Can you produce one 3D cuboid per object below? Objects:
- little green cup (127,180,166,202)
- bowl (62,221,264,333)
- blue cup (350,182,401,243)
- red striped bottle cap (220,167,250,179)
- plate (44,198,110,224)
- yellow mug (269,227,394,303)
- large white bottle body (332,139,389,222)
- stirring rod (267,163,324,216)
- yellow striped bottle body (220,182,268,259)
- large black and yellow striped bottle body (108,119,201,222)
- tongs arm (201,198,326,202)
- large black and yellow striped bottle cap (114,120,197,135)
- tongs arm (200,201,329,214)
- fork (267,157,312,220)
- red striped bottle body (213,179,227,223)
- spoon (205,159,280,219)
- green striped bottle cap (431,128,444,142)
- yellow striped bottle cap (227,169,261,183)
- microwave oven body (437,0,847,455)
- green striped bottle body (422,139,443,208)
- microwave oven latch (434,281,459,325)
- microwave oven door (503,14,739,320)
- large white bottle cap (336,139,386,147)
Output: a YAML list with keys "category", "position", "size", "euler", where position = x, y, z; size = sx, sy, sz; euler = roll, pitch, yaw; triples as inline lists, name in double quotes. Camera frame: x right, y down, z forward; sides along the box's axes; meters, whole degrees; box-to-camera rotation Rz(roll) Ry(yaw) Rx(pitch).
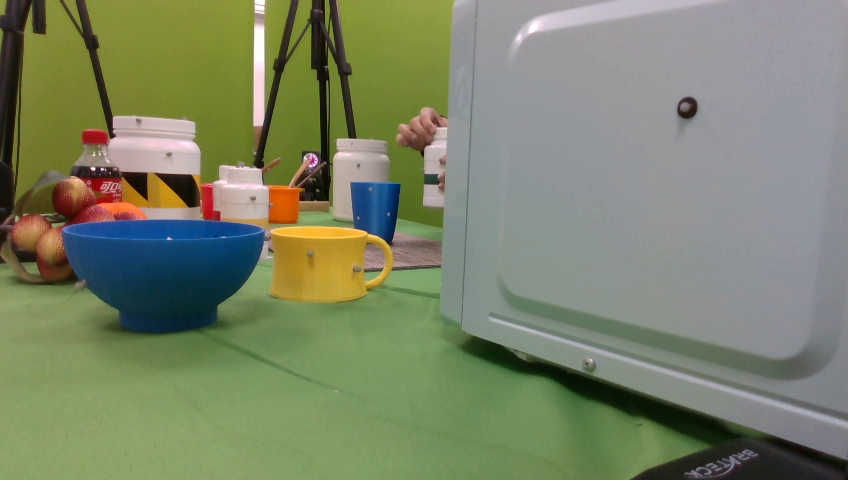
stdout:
- category: "little green cup"
  position: [-0.485, -0.086, 1.061]
  size: [0.061, 0.038, 0.061]
  euler: [1, 7, 0]
- category: "bowl"
  position: [-0.209, 0.029, 0.496]
  size: [0.151, 0.077, 0.151]
  euler: [2, 6, 0]
- category: "blue cup"
  position: [-0.082, -0.047, 1.010]
  size: [0.093, 0.100, 0.092]
  euler: [1, 6, 0]
- category: "red striped bottle cap"
  position: [-0.281, -0.100, 0.901]
  size: [0.044, 0.017, 0.044]
  euler: [-1, 5, 0]
- category: "plate"
  position: [-0.617, -0.056, 1.179]
  size: [0.209, 0.038, 0.209]
  euler: [3, 7, 0]
- category: "yellow mug"
  position: [-0.094, 0.023, 0.629]
  size: [0.131, 0.064, 0.099]
  euler: [0, 7, -22]
- category: "large white bottle body"
  position: [-0.145, -0.136, 1.387]
  size: [0.131, 0.184, 0.130]
  euler: [2, 7, 0]
- category: "stirring rod"
  position: [-0.278, -0.105, 1.294]
  size: [0.176, 0.006, 0.014]
  euler: [-47, 26, -18]
- category: "yellow striped bottle body"
  position: [-0.246, -0.036, 0.825]
  size: [0.063, 0.120, 0.063]
  euler: [3, 8, 0]
- category: "large black and yellow striped bottle body"
  position: [-0.412, -0.088, 0.930]
  size: [0.131, 0.184, 0.130]
  euler: [3, 7, 0]
- category: "tongs arm"
  position: [-0.433, -0.090, 1.507]
  size: [0.390, 0.028, 0.028]
  euler: [-1, 2, -30]
- category: "large black and yellow striped bottle cap"
  position: [-0.407, -0.171, 0.920]
  size: [0.115, 0.019, 0.115]
  euler: [2, 9, 0]
- category: "tongs arm"
  position: [-0.378, -0.079, 1.440]
  size: [0.387, 0.026, 0.050]
  euler: [-4, 8, -44]
- category: "fork"
  position: [-0.289, -0.116, 1.321]
  size: [0.028, 0.019, 0.207]
  euler: [6, 51, 18]
- category: "red striped bottle body"
  position: [-0.284, -0.048, 0.909]
  size: [0.063, 0.119, 0.063]
  euler: [3, 11, 0]
- category: "spoon"
  position: [-0.365, -0.103, 1.214]
  size: [0.193, 0.021, 0.041]
  euler: [-42, 4, 6]
- category: "green striped bottle cap"
  position: [0.032, -0.166, 0.959]
  size: [0.044, 0.020, 0.044]
  euler: [0, 4, 0]
- category: "yellow striped bottle cap"
  position: [-0.243, -0.087, 0.818]
  size: [0.044, 0.018, 0.044]
  euler: [3, 6, 0]
- category: "microwave oven body"
  position: [0.279, -0.040, 0.465]
  size: [0.444, 0.260, 0.324]
  euler: [-3, 9, -41]
- category: "green striped bottle body"
  position: [0.030, -0.111, 0.966]
  size: [0.063, 0.119, 0.063]
  euler: [2, 6, 0]
- category: "microwave oven latch"
  position: [0.044, 0.045, 0.470]
  size: [0.079, 0.029, 0.030]
  euler: [-2, 8, -39]
- category: "microwave oven door"
  position: [0.218, -0.065, 0.600]
  size: [0.358, 0.243, 0.039]
  euler: [-4, 10, -41]
- category: "large white bottle cap"
  position: [-0.143, -0.219, 1.375]
  size: [0.115, 0.018, 0.115]
  euler: [2, 8, 0]
